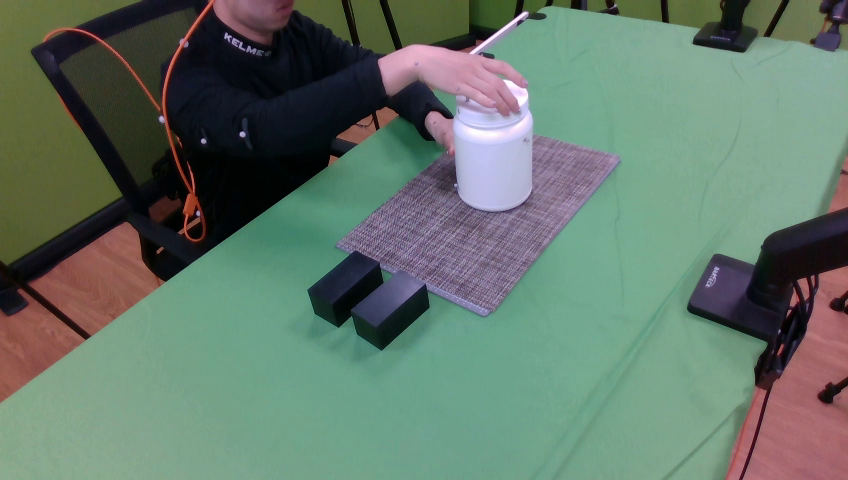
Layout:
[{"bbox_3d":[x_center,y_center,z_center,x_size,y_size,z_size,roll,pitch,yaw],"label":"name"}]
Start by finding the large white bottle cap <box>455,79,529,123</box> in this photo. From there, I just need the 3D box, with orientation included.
[{"bbox_3d":[0.107,-0.219,0.946,0.115,0.018,0.114,-4,41,4],"label":"large white bottle cap"}]

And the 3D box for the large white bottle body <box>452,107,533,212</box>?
[{"bbox_3d":[0.115,-0.154,1.000,0.130,0.185,0.130,-4,41,4],"label":"large white bottle body"}]
